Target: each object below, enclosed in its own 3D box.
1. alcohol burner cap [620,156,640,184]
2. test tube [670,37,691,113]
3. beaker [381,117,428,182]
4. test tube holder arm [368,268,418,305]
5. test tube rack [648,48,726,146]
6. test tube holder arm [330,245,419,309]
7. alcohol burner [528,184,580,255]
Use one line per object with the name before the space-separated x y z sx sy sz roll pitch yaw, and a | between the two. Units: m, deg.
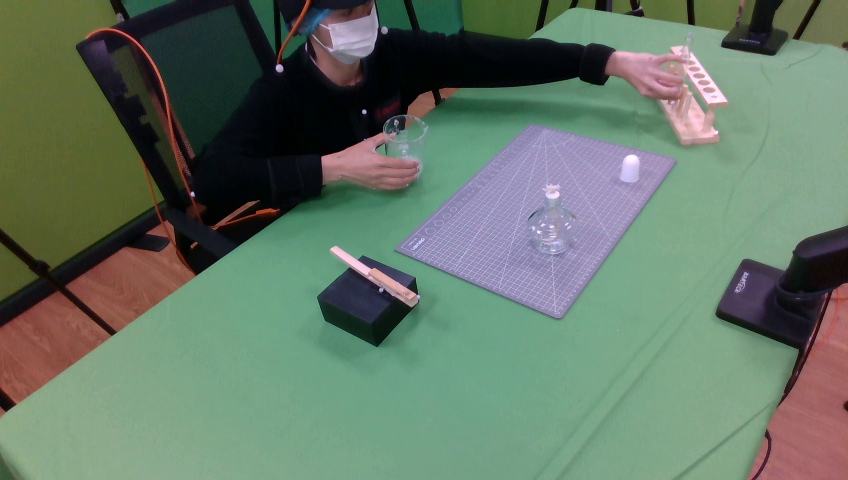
alcohol burner cap | 0.358 -0.124 1.047 0.034 0.048 0.033 -4 40 4
test tube | 0.486 -0.311 1.145 0.017 0.151 0.017 -5 40 4
beaker | -0.033 -0.160 1.085 0.084 0.100 0.073 -14 53 -12
test tube holder arm | -0.043 0.063 0.827 0.087 0.010 0.015 29 53 36
test tube rack | 0.509 -0.285 1.185 0.067 0.085 0.241 -4 40 5
test tube holder arm | -0.074 0.049 0.857 0.177 0.013 0.015 30 53 36
alcohol burner | 0.196 -0.035 0.911 0.078 0.119 0.077 -6 41 5
